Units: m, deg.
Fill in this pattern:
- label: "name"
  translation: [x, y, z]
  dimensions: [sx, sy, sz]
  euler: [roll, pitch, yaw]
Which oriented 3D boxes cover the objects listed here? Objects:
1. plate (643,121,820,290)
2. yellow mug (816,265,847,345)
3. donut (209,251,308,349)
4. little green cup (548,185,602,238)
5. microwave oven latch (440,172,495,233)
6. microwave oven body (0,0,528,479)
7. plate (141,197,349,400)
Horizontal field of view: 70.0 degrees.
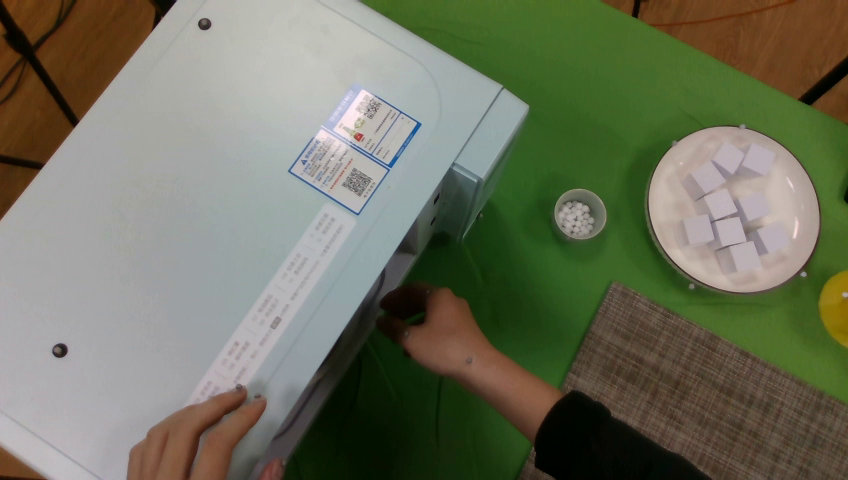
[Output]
- label: "plate"
  translation: [0.363, -0.041, 0.729]
  dimensions: [0.208, 0.039, 0.206]
  euler: [0, 78, -2]
- label: "yellow mug"
  translation: [0.522, 0.087, 0.694]
  dimensions: [0.100, 0.064, 0.130]
  euler: [-8, 80, -3]
- label: "donut"
  translation: [-0.166, 0.059, 0.612]
  dimensions: [0.099, 0.048, 0.098]
  euler: [0, 82, -2]
- label: "little green cup"
  translation: [0.177, -0.031, 0.720]
  dimensions: [0.061, 0.039, 0.061]
  euler: [0, 80, -1]
- label: "microwave oven latch"
  translation: [0.050, -0.048, 0.701]
  dimensions: [0.030, 0.029, 0.079]
  euler: [35, 80, 5]
- label: "microwave oven body"
  translation: [-0.167, 0.002, 0.586]
  dimensions: [0.325, 0.261, 0.441]
  euler: [31, 80, 4]
- label: "plate"
  translation: [-0.181, 0.060, 0.628]
  dimensions: [0.209, 0.038, 0.208]
  euler: [1, 78, -2]
